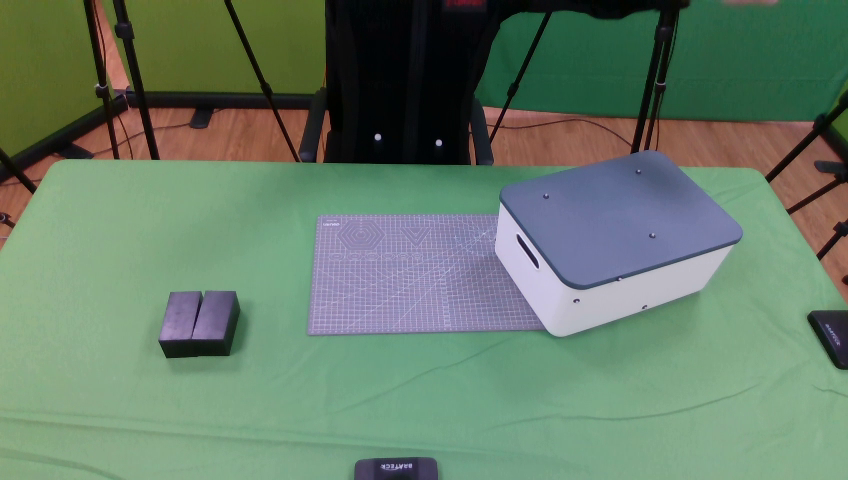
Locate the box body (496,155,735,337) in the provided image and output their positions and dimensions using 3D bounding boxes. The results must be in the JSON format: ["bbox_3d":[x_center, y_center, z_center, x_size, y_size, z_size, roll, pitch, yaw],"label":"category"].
[{"bbox_3d":[0.340,0.004,1.118,0.364,0.161,0.252,-15,49,-18],"label":"box body"}]

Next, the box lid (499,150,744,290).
[{"bbox_3d":[0.341,-0.049,1.065,0.372,0.015,0.261,-15,48,-18],"label":"box lid"}]
